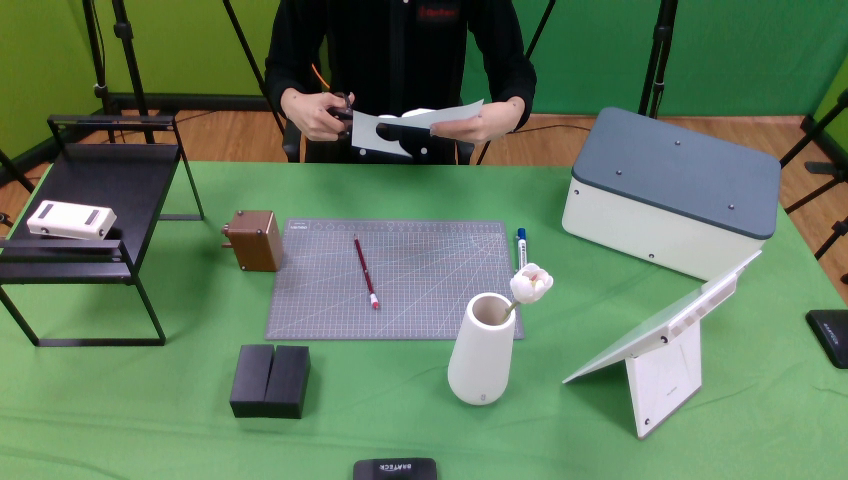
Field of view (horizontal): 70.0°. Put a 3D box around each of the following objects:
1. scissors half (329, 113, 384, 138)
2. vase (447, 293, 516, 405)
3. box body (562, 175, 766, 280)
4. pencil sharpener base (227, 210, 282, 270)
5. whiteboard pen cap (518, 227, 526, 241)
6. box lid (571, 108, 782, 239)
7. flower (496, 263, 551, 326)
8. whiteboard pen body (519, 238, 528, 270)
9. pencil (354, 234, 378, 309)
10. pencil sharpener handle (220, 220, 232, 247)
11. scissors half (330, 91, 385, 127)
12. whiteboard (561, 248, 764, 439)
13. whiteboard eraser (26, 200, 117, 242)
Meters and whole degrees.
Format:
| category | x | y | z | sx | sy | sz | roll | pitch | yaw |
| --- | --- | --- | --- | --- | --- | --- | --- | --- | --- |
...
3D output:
| category | x | y | z | sx | sy | sz | roll | pitch | yaw |
| --- | --- | --- | --- | --- | --- | --- | --- | --- | --- |
| scissors half | -0.118 | -0.201 | 1.051 | 0.013 | 0.040 | 0.174 | -8 | 7 | -37 |
| vase | 0.091 | 0.169 | 0.921 | 0.098 | 0.201 | 0.097 | 3 | 47 | -3 |
| box body | 0.486 | -0.088 | 1.222 | 0.363 | 0.161 | 0.253 | 20 | 48 | 15 |
| pencil sharpener base | -0.311 | 0.001 | 1.112 | 0.077 | 0.107 | 0.061 | 1 | 47 | 1 |
| whiteboard pen cap | 0.197 | -0.009 | 1.220 | 0.018 | 0.018 | 0.033 | 5 | 51 | 1 |
| box lid | 0.491 | -0.139 | 1.168 | 0.370 | 0.015 | 0.262 | 21 | 49 | 15 |
| flower | 0.102 | 0.121 | 0.853 | 0.044 | 0.363 | 0.038 | -2 | 64 | -10 |
| whiteboard pen body | 0.193 | 0.035 | 1.180 | 0.017 | 0.017 | 0.140 | 6 | 48 | 1 |
| pencil | -0.113 | 0.055 | 1.142 | 0.012 | 0.012 | 0.192 | -10 | 46 | -13 |
| pencil sharpener handle | -0.362 | -0.009 | 1.105 | 0.030 | 0.068 | 0.036 | 1 | 52 | 1 |
| scissors half | -0.117 | -0.222 | 1.045 | 0.013 | 0.040 | 0.174 | -14 | 34 | -35 |
| whiteboard | 0.386 | 0.176 | 0.905 | 0.217 | 0.306 | 0.143 | -26 | 72 | -27 |
| whiteboard eraser | -0.532 | -0.026 | 0.919 | 0.113 | 0.042 | 0.055 | 7 | 45 | 3 |
